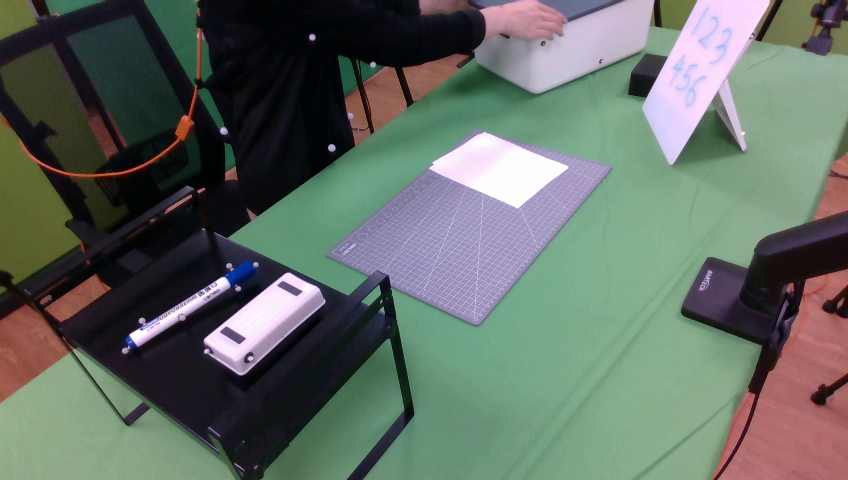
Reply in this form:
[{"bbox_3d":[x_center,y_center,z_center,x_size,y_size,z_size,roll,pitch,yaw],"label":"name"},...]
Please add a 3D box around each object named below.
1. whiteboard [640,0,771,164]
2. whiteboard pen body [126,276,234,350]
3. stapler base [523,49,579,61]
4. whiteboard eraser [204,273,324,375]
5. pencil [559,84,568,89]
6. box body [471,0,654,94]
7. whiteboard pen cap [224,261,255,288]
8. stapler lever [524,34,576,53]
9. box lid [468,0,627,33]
[{"bbox_3d":[0.543,-0.299,1.076,0.144,0.305,0.216,12,40,-7],"label":"whiteboard"},{"bbox_3d":[-0.251,0.070,0.649,0.141,0.017,0.017,-36,48,-26],"label":"whiteboard pen body"},{"bbox_3d":[0.300,-0.440,1.434,0.130,0.024,0.041,3,25,18],"label":"stapler base"},{"bbox_3d":[-0.157,0.084,0.605,0.055,0.042,0.113,24,49,30],"label":"whiteboard eraser"},{"bbox_3d":[0.248,-0.394,1.398,0.193,0.012,0.012,34,54,23],"label":"pencil"},{"bbox_3d":[0.319,-0.498,1.405,0.365,0.161,0.252,-26,43,-21],"label":"box body"},{"bbox_3d":[-0.207,0.039,0.677,0.033,0.018,0.018,-36,47,-18],"label":"whiteboard pen cap"},{"bbox_3d":[0.297,-0.462,1.423,0.117,0.040,0.027,4,25,17],"label":"stapler lever"},{"bbox_3d":[0.312,-0.554,1.358,0.373,0.015,0.261,-26,44,-20],"label":"box lid"}]
